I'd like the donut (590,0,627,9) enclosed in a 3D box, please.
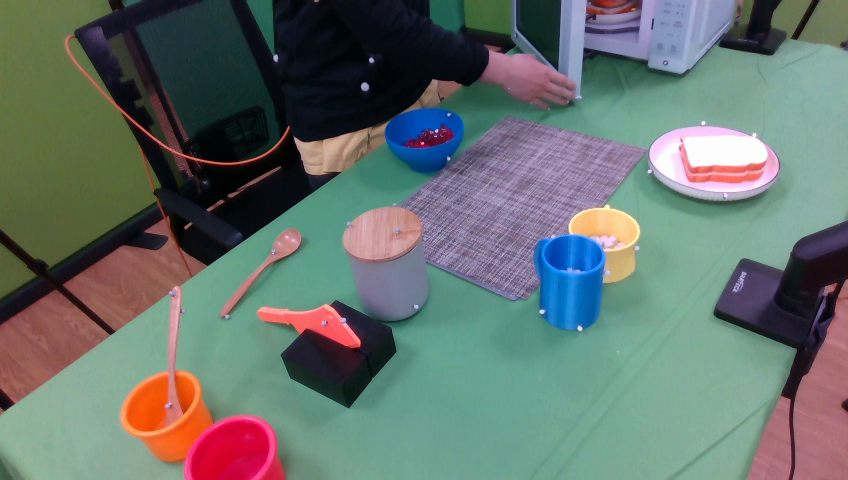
[{"bbox_3d":[0.438,-0.586,1.434,0.099,0.048,0.098,-1,53,2],"label":"donut"}]

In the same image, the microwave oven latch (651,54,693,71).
[{"bbox_3d":[0.532,-0.386,1.302,0.078,0.029,0.030,26,52,34],"label":"microwave oven latch"}]

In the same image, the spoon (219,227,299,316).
[{"bbox_3d":[-0.261,0.046,0.954,0.041,0.021,0.194,27,48,10],"label":"spoon"}]

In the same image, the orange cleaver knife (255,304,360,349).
[{"bbox_3d":[-0.161,0.115,0.813,0.210,0.077,0.012,-4,32,47],"label":"orange cleaver knife"}]

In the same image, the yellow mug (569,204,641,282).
[{"bbox_3d":[0.268,-0.005,0.904,0.099,0.064,0.130,7,41,15],"label":"yellow mug"}]

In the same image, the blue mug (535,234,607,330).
[{"bbox_3d":[0.190,0.048,0.824,0.082,0.106,0.115,-26,44,-21],"label":"blue mug"}]

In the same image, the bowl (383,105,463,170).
[{"bbox_3d":[0.002,-0.185,1.143,0.151,0.077,0.150,-4,40,4],"label":"bowl"}]

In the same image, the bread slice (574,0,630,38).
[{"bbox_3d":[0.430,-0.557,1.482,0.105,0.019,0.131,-28,73,-27],"label":"bread slice"}]

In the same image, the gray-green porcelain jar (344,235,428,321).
[{"bbox_3d":[-0.049,0.042,0.849,0.106,0.127,0.105,-4,41,4],"label":"gray-green porcelain jar"}]

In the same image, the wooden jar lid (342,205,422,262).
[{"bbox_3d":[-0.055,-0.006,0.808,0.108,0.021,0.108,-6,41,6],"label":"wooden jar lid"}]

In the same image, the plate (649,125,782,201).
[{"bbox_3d":[0.493,-0.128,1.036,0.207,0.039,0.206,-4,41,4],"label":"plate"}]

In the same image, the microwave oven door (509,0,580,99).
[{"bbox_3d":[0.258,-0.493,1.310,0.039,0.245,0.353,-13,41,-7],"label":"microwave oven door"}]

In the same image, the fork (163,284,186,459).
[{"bbox_3d":[-0.303,0.157,0.733,0.028,0.019,0.207,-3,84,13],"label":"fork"}]

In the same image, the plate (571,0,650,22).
[{"bbox_3d":[0.441,-0.575,1.459,0.209,0.038,0.208,-6,41,6],"label":"plate"}]

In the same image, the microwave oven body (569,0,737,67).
[{"bbox_3d":[0.475,-0.602,1.411,0.438,0.261,0.327,23,50,32],"label":"microwave oven body"}]
